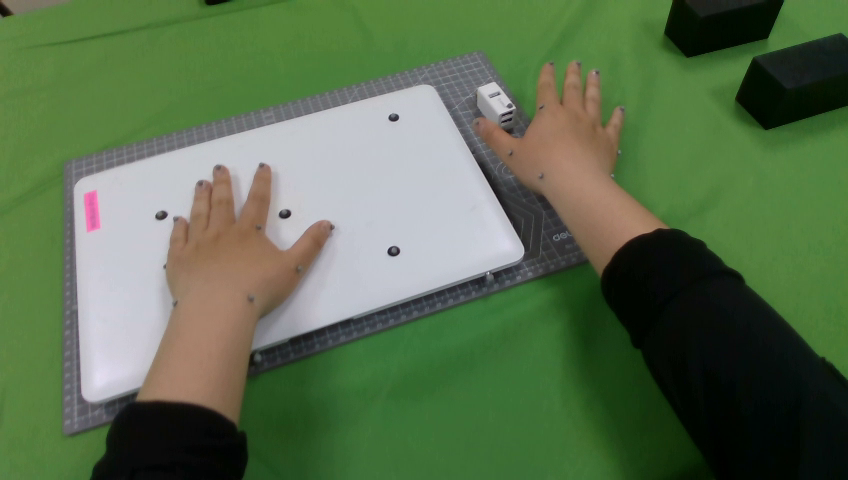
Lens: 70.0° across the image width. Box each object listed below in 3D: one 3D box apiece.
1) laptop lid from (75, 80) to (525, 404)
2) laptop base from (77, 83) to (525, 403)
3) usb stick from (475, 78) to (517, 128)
[{"bbox_3d":[-0.118,-0.022,0.524,0.357,0.013,0.239,-17,57,-8],"label":"laptop lid"},{"bbox_3d":[-0.118,-0.017,0.534,0.355,0.023,0.233,-18,58,-9],"label":"laptop base"},{"bbox_3d":[0.069,-0.140,0.603,0.021,0.027,0.058,-24,52,-10],"label":"usb stick"}]
